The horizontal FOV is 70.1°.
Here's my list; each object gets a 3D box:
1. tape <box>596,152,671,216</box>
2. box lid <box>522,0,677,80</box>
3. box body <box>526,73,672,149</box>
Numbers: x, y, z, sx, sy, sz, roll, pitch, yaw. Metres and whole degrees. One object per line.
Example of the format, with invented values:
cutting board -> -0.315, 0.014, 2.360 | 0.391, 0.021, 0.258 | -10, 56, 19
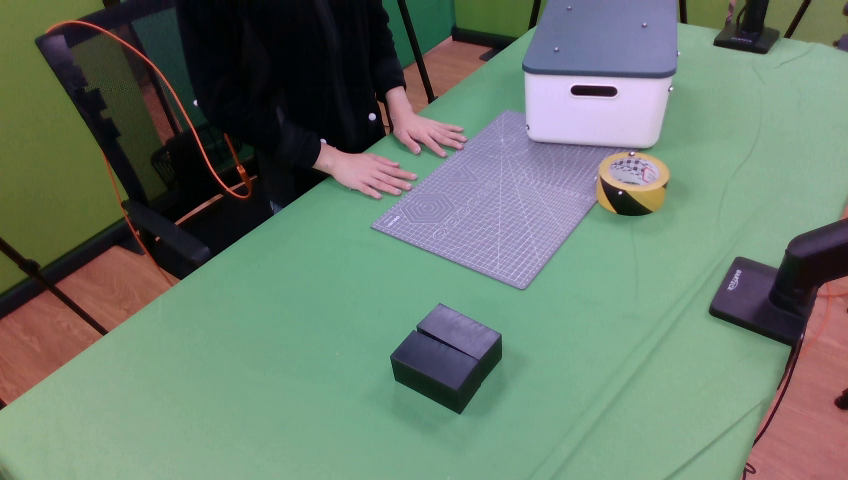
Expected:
tape -> 0.349, -0.095, 1.009 | 0.117, 0.053, 0.116 | -3, 42, 3
box lid -> 0.346, -0.397, 1.163 | 0.262, 0.015, 0.371 | 6, 42, 17
box body -> 0.356, -0.342, 1.212 | 0.253, 0.161, 0.363 | 7, 42, 17
